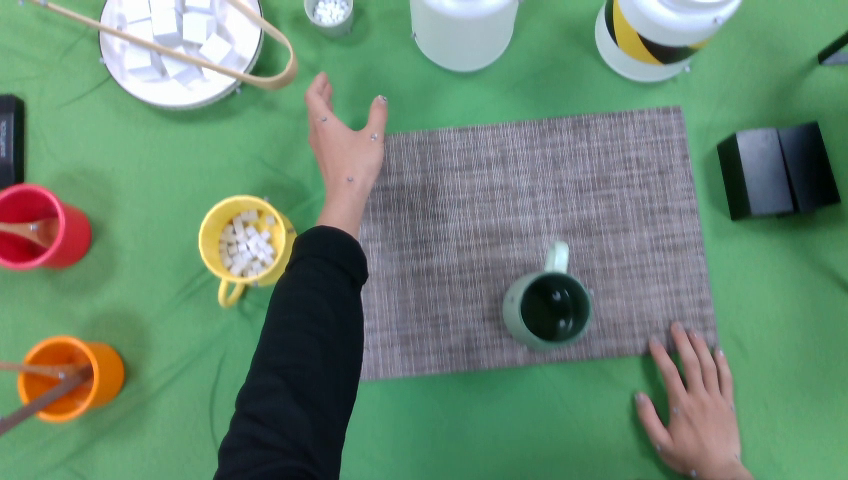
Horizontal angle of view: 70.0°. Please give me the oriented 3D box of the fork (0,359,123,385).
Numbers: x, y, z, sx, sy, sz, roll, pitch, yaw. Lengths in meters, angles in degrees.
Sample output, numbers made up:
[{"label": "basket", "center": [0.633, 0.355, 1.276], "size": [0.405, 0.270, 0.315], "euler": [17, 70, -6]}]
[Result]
[{"label": "fork", "center": [-0.442, 0.138, 0.665], "size": [0.209, 0.018, 0.028], "euler": [19, 76, -40]}]

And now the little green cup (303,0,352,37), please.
[{"label": "little green cup", "center": [-0.121, -0.291, 0.771], "size": [0.061, 0.039, 0.061], "euler": [0, 84, 0]}]

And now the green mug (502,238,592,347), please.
[{"label": "green mug", "center": [0.142, 0.059, 0.689], "size": [0.092, 0.105, 0.125], "euler": [11, 83, 3]}]

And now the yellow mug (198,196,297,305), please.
[{"label": "yellow mug", "center": [-0.214, 0.016, 0.720], "size": [0.100, 0.064, 0.130], "euler": [20, 85, 3]}]

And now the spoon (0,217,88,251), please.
[{"label": "spoon", "center": [-0.492, -0.016, 0.688], "size": [0.195, 0.021, 0.041], "euler": [9, 79, -42]}]

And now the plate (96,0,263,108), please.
[{"label": "plate", "center": [-0.305, -0.264, 0.770], "size": [0.208, 0.039, 0.207], "euler": [0, 83, 1]}]

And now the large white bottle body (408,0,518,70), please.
[{"label": "large white bottle body", "center": [0.045, -0.291, 0.696], "size": [0.130, 0.185, 0.130], "euler": [0, 82, 1]}]

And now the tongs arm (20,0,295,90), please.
[{"label": "tongs arm", "center": [-0.343, -0.257, 0.738], "size": [0.384, 0.026, 0.050], "euler": [23, 80, 5]}]

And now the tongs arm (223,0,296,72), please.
[{"label": "tongs arm", "center": [-0.303, -0.330, 0.748], "size": [0.386, 0.028, 0.028], "euler": [37, 78, 7]}]

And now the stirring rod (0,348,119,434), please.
[{"label": "stirring rod", "center": [-0.417, 0.173, 0.666], "size": [0.014, 0.006, 0.176], "euler": [45, 43, 5]}]

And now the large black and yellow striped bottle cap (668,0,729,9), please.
[{"label": "large black and yellow striped bottle cap", "center": [0.277, -0.291, 0.610], "size": [0.115, 0.019, 0.114], "euler": [0, 83, 0]}]

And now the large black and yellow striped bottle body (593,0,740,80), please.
[{"label": "large black and yellow striped bottle body", "center": [0.280, -0.277, 0.693], "size": [0.131, 0.184, 0.130], "euler": [0, 82, 1]}]
